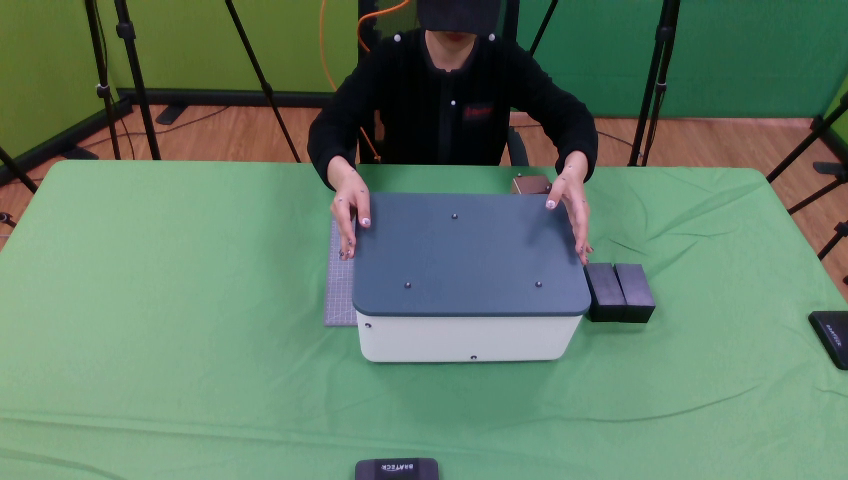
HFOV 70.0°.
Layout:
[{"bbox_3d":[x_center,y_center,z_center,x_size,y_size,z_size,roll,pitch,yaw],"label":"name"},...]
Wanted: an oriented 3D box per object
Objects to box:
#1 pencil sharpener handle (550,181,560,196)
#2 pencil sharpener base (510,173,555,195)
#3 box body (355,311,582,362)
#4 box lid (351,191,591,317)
[{"bbox_3d":[0.266,-0.089,1.223,0.031,0.068,0.035,-6,43,-10],"label":"pencil sharpener handle"},{"bbox_3d":[0.216,-0.075,1.223,0.077,0.107,0.061,-6,46,-10],"label":"pencil sharpener base"},{"bbox_3d":[0.066,0.068,1.038,0.364,0.161,0.252,0,46,-4],"label":"box body"},{"bbox_3d":[0.072,0.016,0.982,0.372,0.015,0.261,0,48,-5],"label":"box lid"}]
